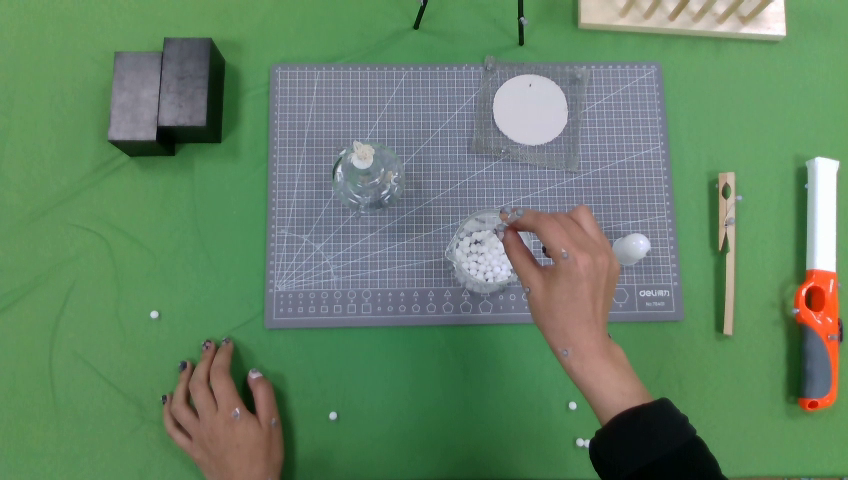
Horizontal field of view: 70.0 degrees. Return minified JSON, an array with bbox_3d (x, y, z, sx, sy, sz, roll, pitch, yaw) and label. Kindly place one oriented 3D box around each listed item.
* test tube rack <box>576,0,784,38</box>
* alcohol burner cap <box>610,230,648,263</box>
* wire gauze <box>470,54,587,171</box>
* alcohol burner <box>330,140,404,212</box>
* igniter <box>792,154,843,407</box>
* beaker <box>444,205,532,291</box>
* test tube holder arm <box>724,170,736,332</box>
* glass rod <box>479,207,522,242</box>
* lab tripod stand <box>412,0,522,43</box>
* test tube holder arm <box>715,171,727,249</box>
[{"bbox_3d":[0.302,-0.285,0.682,0.242,0.085,0.066,3,79,-1],"label":"test tube rack"},{"bbox_3d":[0.222,0.005,0.648,0.034,0.048,0.033,0,79,-1],"label":"alcohol burner cap"},{"bbox_3d":[0.120,-0.148,0.690,0.125,0.011,0.121,10,81,-1],"label":"wire gauze"},{"bbox_3d":[-0.060,-0.071,0.617,0.078,0.119,0.077,0,79,1],"label":"alcohol burner"},{"bbox_3d":[0.428,0.041,0.658,0.057,0.025,0.275,9,80,-10],"label":"igniter"},{"bbox_3d":[0.060,0.014,0.614,0.084,0.100,0.073,-9,79,-2],"label":"beaker"},{"bbox_3d":[0.334,0.011,0.663,0.013,0.015,0.177,-4,78,34],"label":"test tube holder arm"},{"bbox_3d":[0.067,-0.012,0.558,0.008,0.200,0.008,0,84,-3],"label":"glass rod"},{"bbox_3d":[0.056,-0.286,0.651,0.148,0.132,0.148,0,82,-1],"label":"lab tripod stand"},{"bbox_3d":[0.331,-0.033,0.674,0.010,0.015,0.087,-3,79,34],"label":"test tube holder arm"}]
